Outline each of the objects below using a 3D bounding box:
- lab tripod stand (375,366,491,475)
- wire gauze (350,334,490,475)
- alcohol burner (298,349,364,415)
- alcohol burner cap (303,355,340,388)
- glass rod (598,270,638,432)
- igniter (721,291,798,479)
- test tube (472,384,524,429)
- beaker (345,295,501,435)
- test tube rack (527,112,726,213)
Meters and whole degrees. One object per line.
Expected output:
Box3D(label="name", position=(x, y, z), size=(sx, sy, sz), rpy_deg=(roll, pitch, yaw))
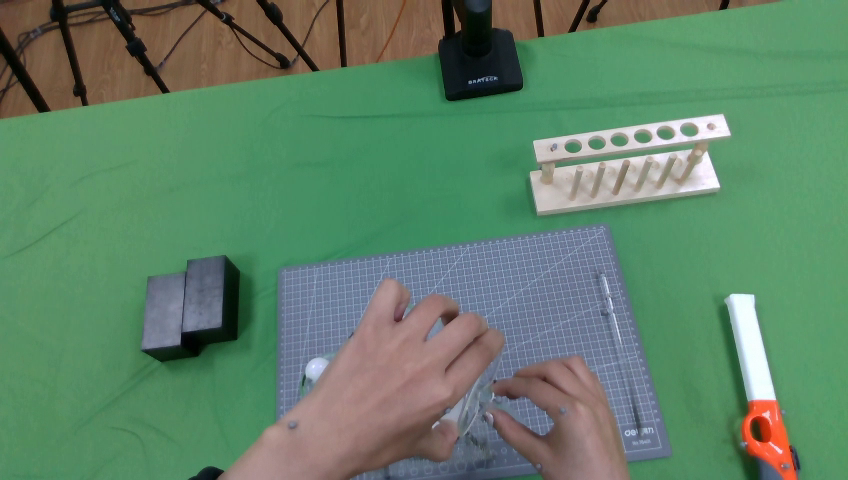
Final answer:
Box3D(label="lab tripod stand", position=(0.000, 0.192, 0.653), size=(0.148, 0.132, 0.147), rpy_deg=(-3, 63, 6))
Box3D(label="wire gauze", position=(-0.007, 0.159, 0.595), size=(0.125, 0.011, 0.120), rpy_deg=(-11, 62, 1))
Box3D(label="alcohol burner", position=(-0.110, 0.157, 0.693), size=(0.078, 0.120, 0.077), rpy_deg=(-3, 61, 5))
Box3D(label="alcohol burner cap", position=(-0.113, 0.142, 0.660), size=(0.034, 0.048, 0.033), rpy_deg=(-4, 68, 9))
Box3D(label="glass rod", position=(0.233, 0.129, 0.731), size=(0.008, 0.008, 0.198), rpy_deg=(-7, 66, 2))
Box3D(label="igniter", position=(0.377, 0.188, 0.680), size=(0.057, 0.025, 0.274), rpy_deg=(3, 64, -4))
Box3D(label="test tube", position=(0.070, 0.153, 0.550), size=(0.017, 0.152, 0.017), rpy_deg=(-9, 63, 17))
Box3D(label="beaker", position=(-0.001, 0.091, 0.463), size=(0.100, 0.084, 0.074), rpy_deg=(24, 76, 17))
Box3D(label="test tube rack", position=(0.264, -0.100, 0.800), size=(0.242, 0.086, 0.066), rpy_deg=(-8, 63, 2))
